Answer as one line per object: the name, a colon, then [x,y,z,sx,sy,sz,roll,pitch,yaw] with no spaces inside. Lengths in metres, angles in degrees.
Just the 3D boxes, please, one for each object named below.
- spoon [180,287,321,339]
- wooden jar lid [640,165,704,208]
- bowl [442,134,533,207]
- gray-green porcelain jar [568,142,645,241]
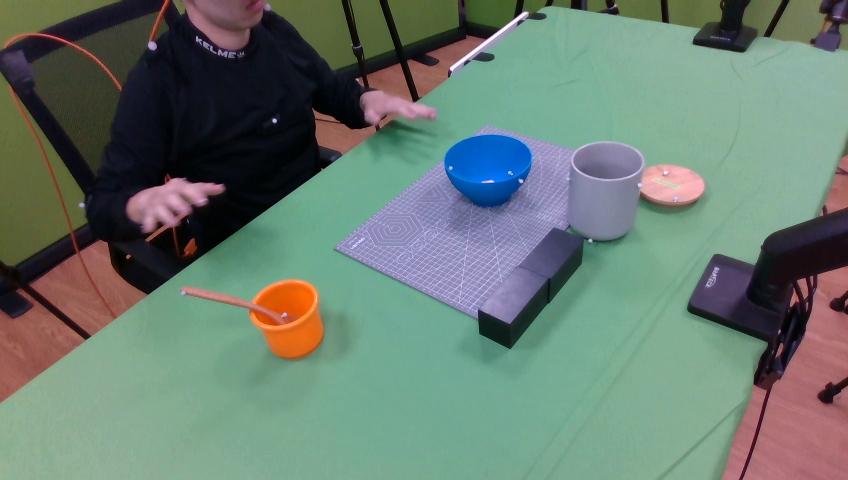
spoon: [-0.223,0.093,0.796,0.021,0.195,0.041,-47,35,23]
wooden jar lid: [0.410,-0.088,1.015,0.108,0.021,0.108,-5,41,5]
bowl: [0.110,-0.109,1.033,0.151,0.077,0.150,-4,40,4]
gray-green porcelain jar: [0.276,-0.070,0.931,0.106,0.127,0.105,-4,41,4]
